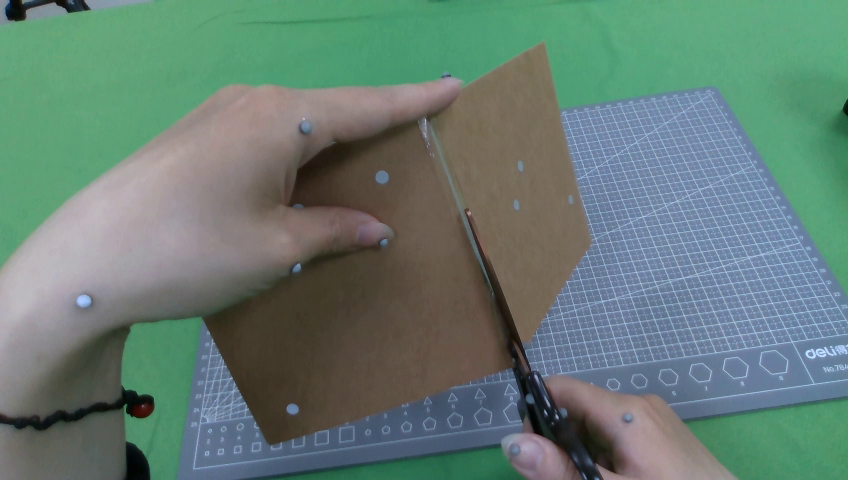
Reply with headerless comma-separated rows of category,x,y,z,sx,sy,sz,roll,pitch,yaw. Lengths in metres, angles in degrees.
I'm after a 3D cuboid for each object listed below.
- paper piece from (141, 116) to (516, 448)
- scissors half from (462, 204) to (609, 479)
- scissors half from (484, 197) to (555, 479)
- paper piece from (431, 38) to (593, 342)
paper piece,-0.042,0.027,0.289,0.138,0.136,0.008,-19,15,6
scissors half,0.052,0.060,0.283,0.013,0.040,0.174,-18,76,-18
scissors half,0.045,0.060,0.307,0.013,0.176,0.039,-18,25,-14
paper piece,0.059,-0.029,0.332,0.004,0.136,0.135,-3,26,37
